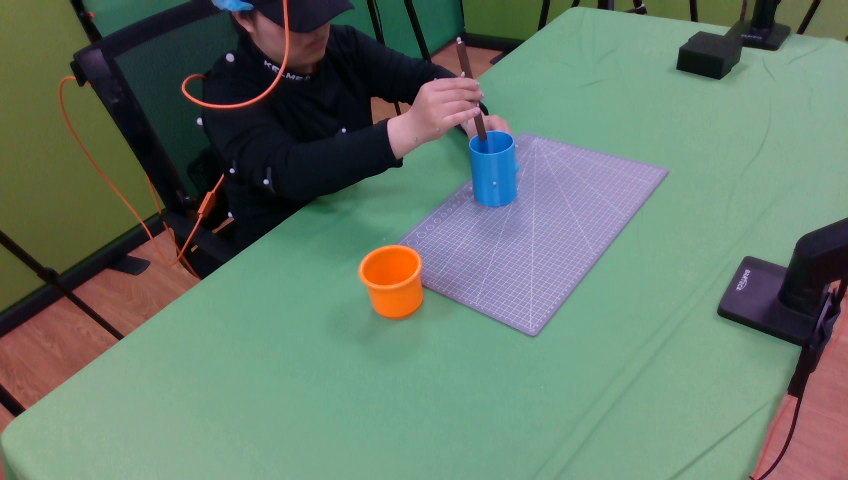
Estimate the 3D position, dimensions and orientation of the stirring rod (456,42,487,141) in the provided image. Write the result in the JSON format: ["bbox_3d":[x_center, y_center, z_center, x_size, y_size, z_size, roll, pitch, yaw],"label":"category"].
[{"bbox_3d":[0.075,-0.226,0.938,0.014,0.177,0.005,-32,43,-11],"label":"stirring rod"}]

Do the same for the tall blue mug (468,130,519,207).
[{"bbox_3d":[0.114,-0.131,1.045,0.078,0.108,0.106,-20,41,-11],"label":"tall blue mug"}]
